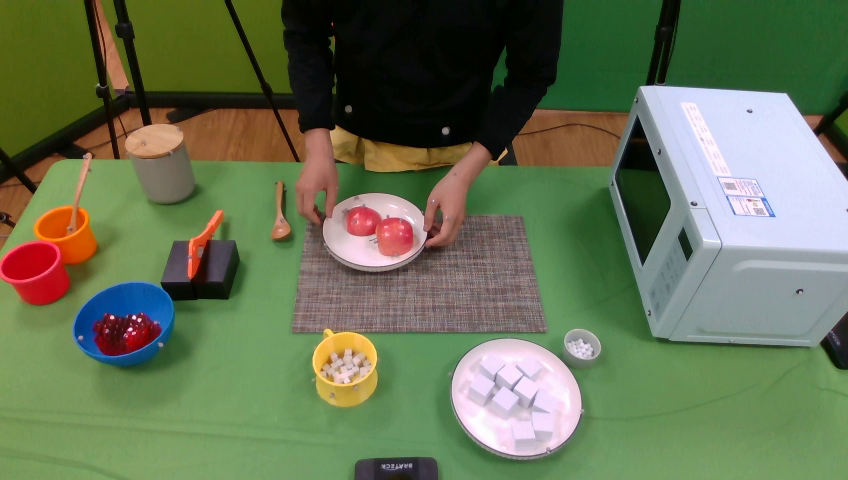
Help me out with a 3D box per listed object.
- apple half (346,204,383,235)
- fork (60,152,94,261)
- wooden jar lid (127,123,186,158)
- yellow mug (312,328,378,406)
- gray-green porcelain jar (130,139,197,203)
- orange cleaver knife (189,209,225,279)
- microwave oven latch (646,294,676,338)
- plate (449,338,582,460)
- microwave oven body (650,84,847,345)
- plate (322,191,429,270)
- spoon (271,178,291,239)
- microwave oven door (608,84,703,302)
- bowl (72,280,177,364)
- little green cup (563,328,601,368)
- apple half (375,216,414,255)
[{"bbox_3d":[-0.119,-0.049,1.207,0.081,0.033,0.081,3,50,-3],"label":"apple half"},{"bbox_3d":[-0.638,-0.063,1.119,0.028,0.018,0.207,12,90,6],"label":"fork"},{"bbox_3d":[-0.519,-0.190,1.179,0.108,0.021,0.107,2,44,-2],"label":"wooden jar lid"},{"bbox_3d":[-0.132,0.193,0.971,0.100,0.064,0.130,-22,51,-22],"label":"yellow mug"},{"bbox_3d":[-0.522,-0.148,1.225,0.106,0.127,0.105,2,47,-2],"label":"gray-green porcelain jar"},{"bbox_3d":[-0.401,0.002,1.122,0.012,0.077,0.210,4,23,-4],"label":"orange cleaver knife"},{"bbox_3d":[0.413,0.133,1.061,0.030,0.029,0.078,4,46,1],"label":"microwave oven latch"},{"bbox_3d":[0.141,0.251,0.956,0.208,0.039,0.206,2,47,-2],"label":"plate"},{"bbox_3d":[0.569,-0.054,1.116,0.326,0.261,0.439,2,46,-1],"label":"microwave oven body"},{"bbox_3d":[-0.094,-0.015,1.185,0.209,0.038,0.208,2,46,-2],"label":"plate"},{"bbox_3d":[-0.293,-0.068,1.237,0.041,0.022,0.192,-20,48,7],"label":"spoon"},{"bbox_3d":[0.424,-0.096,1.138,0.039,0.245,0.353,2,47,-1],"label":"microwave oven door"},{"bbox_3d":[-0.473,0.147,0.982,0.151,0.077,0.150,2,46,-2],"label":"bowl"},{"bbox_3d":[0.265,0.184,1.025,0.061,0.039,0.061,1,46,-1],"label":"little green cup"},{"bbox_3d":[-0.056,-0.017,1.169,0.075,0.053,0.080,0,46,-7],"label":"apple half"}]
